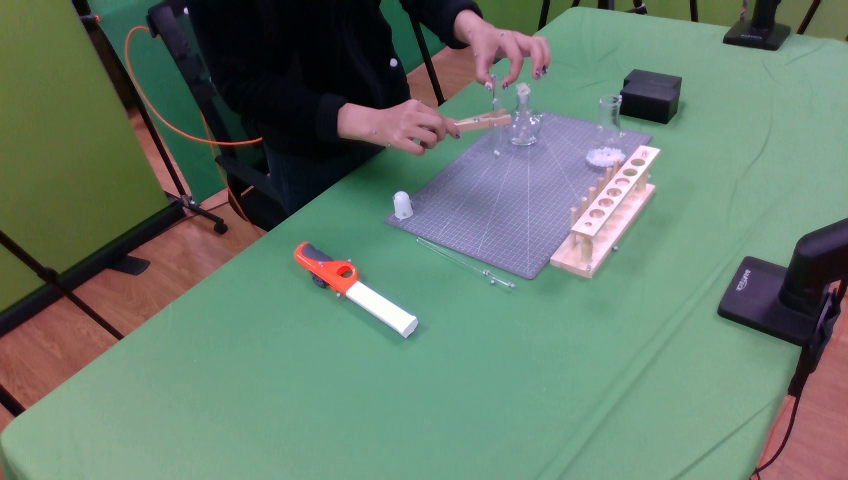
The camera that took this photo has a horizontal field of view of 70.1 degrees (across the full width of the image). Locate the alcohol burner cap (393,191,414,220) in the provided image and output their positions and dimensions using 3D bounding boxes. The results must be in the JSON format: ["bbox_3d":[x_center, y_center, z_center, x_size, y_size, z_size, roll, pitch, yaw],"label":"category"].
[{"bbox_3d":[-0.037,-0.062,1.045,0.034,0.048,0.033,-5,40,5],"label":"alcohol burner cap"}]

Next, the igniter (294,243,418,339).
[{"bbox_3d":[-0.114,0.070,0.919,0.274,0.025,0.057,30,63,37],"label":"igniter"}]

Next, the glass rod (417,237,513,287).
[{"bbox_3d":[0.058,0.033,0.944,0.198,0.008,0.008,26,52,38],"label":"glass rod"}]

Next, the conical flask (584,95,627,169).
[{"bbox_3d":[0.324,-0.192,1.066,0.075,0.122,0.075,-6,40,5],"label":"conical flask"}]

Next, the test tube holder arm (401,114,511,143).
[{"bbox_3d":[0.051,-0.174,0.941,0.179,0.015,0.013,-13,35,-13],"label":"test tube holder arm"}]

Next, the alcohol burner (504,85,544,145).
[{"bbox_3d":[0.191,-0.243,1.160,0.078,0.119,0.077,-4,40,4],"label":"alcohol burner"}]

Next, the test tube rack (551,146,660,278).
[{"bbox_3d":[0.286,-0.053,0.943,0.066,0.085,0.243,21,49,32],"label":"test tube rack"}]

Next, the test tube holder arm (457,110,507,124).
[{"bbox_3d":[0.091,-0.188,0.957,0.088,0.015,0.010,-19,37,-21],"label":"test tube holder arm"}]

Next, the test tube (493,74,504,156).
[{"bbox_3d":[0.117,-0.194,0.959,0.017,0.151,0.017,-3,46,3],"label":"test tube"}]
